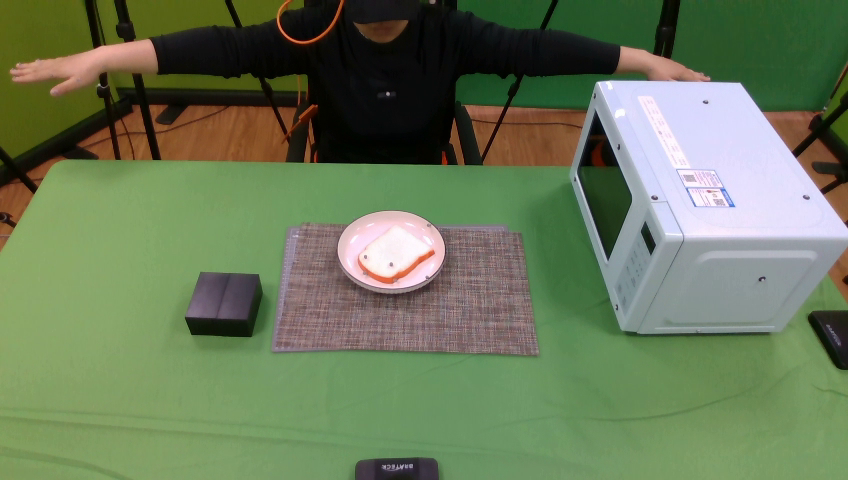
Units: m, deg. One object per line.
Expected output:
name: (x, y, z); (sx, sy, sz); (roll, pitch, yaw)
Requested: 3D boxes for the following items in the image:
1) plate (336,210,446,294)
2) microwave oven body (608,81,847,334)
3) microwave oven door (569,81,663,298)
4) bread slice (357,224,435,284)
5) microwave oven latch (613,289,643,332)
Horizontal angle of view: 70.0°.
plate: (-0.062, 0.026, 1.153); (0.209, 0.038, 0.208); (3, 46, -2)
microwave oven body: (0.501, -0.070, 1.132); (0.326, 0.261, 0.438); (0, 45, -3)
microwave oven door: (0.353, -0.104, 1.147); (0.039, 0.245, 0.353); (0, 46, -4)
bread slice: (-0.059, 0.028, 1.153); (0.104, 0.019, 0.131); (34, 53, 26)
microwave oven latch: (0.357, 0.124, 1.068); (0.030, 0.029, 0.078); (0, 45, -3)
